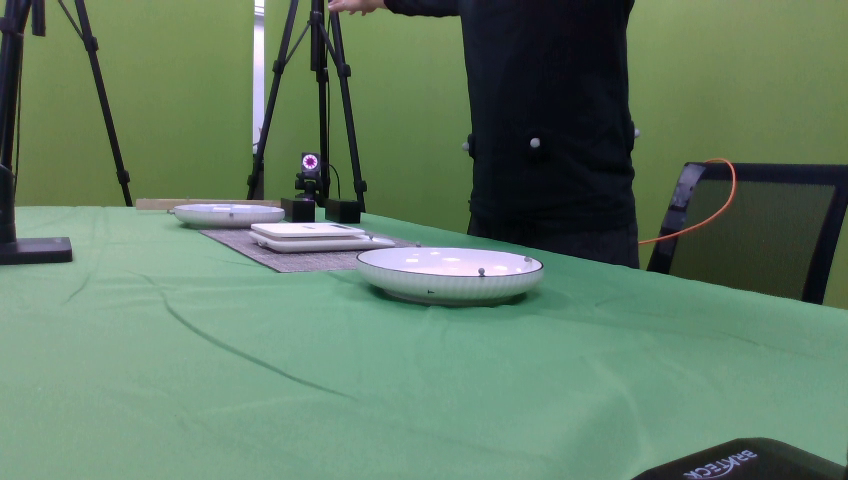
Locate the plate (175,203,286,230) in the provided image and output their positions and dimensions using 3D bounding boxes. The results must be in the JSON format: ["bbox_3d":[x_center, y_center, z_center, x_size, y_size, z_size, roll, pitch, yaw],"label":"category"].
[{"bbox_3d":[-0.380,-0.047,1.199,0.208,0.039,0.207,3,7,0],"label":"plate"}]

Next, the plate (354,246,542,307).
[{"bbox_3d":[0.025,0.039,0.672,0.209,0.038,0.209,3,7,0],"label":"plate"}]

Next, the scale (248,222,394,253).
[{"bbox_3d":[-0.162,-0.006,0.954,0.202,0.031,0.148,-1,9,-32],"label":"scale"}]

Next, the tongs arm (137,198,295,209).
[{"bbox_3d":[-0.489,-0.086,1.472,0.050,0.026,0.387,10,9,42],"label":"tongs arm"}]

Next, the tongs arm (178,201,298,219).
[{"bbox_3d":[-0.418,-0.072,1.419,0.028,0.028,0.389,4,7,28],"label":"tongs arm"}]
